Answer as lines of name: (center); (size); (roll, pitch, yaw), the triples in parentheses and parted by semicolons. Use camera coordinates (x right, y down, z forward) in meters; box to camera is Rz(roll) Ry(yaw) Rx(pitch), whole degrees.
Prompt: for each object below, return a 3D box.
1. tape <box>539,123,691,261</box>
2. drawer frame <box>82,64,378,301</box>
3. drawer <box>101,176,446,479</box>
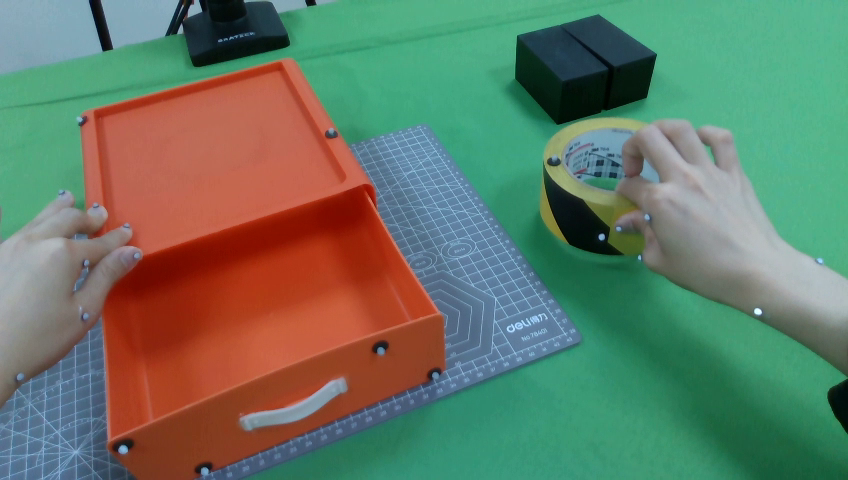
tape: (0.149, -0.042, 0.486); (0.117, 0.053, 0.115); (-2, 45, 2)
drawer frame: (-0.167, -0.045, 0.509); (0.202, 0.083, 0.211); (-21, 47, -15)
drawer: (-0.114, 0.037, 0.426); (0.195, 0.074, 0.209); (-20, 47, -14)
